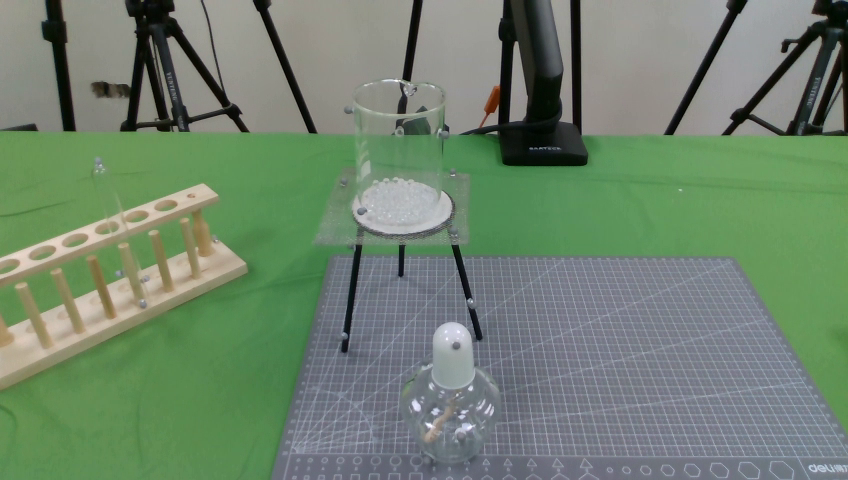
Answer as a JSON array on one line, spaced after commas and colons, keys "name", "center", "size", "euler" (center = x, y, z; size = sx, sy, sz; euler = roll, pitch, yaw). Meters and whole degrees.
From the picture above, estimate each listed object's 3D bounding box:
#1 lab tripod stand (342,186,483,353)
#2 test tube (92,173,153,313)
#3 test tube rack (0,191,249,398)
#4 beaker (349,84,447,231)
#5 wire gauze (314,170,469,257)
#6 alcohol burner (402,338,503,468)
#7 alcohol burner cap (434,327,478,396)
[{"name": "lab tripod stand", "center": [-0.013, 0.028, 0.554], "size": [0.148, 0.132, 0.147], "euler": [1, 34, 0]}, {"name": "test tube", "center": [-0.276, 0.006, 0.558], "size": [0.017, 0.151, 0.017], "euler": [0, 34, 0]}, {"name": "test tube rack", "center": [-0.300, 0.042, 0.585], "size": [0.242, 0.086, 0.066], "euler": [-28, 43, -34]}, {"name": "beaker", "center": [-0.020, -0.066, 0.488], "size": [0.074, 0.101, 0.083], "euler": [7, 35, 7]}, {"name": "wire gauze", "center": [-0.022, -0.025, 0.514], "size": [0.121, 0.011, 0.124], "euler": [2, 37, 3]}, {"name": "alcohol burner", "center": [0.021, 0.113, 0.449], "size": [0.078, 0.120, 0.077], "euler": [0, 37, 0]}, {"name": "alcohol burner cap", "center": [0.022, 0.083, 0.428], "size": [0.034, 0.048, 0.033], "euler": [-2, 35, 2]}]
